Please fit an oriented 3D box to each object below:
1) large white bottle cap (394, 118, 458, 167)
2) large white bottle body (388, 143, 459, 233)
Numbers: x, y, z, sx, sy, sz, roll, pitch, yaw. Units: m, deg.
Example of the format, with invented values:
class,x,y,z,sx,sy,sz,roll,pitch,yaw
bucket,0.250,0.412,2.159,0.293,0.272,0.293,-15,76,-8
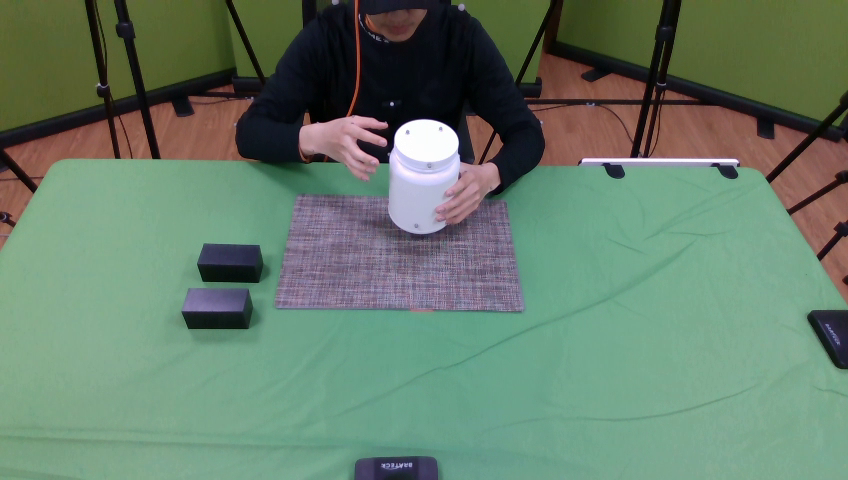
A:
class,x,y,z,sx,sy,sz,roll,pitch,yaw
large white bottle cap,0.003,-0.174,1.072,0.115,0.018,0.114,3,51,-3
large white bottle body,-0.002,-0.117,1.140,0.131,0.185,0.130,2,50,-3
